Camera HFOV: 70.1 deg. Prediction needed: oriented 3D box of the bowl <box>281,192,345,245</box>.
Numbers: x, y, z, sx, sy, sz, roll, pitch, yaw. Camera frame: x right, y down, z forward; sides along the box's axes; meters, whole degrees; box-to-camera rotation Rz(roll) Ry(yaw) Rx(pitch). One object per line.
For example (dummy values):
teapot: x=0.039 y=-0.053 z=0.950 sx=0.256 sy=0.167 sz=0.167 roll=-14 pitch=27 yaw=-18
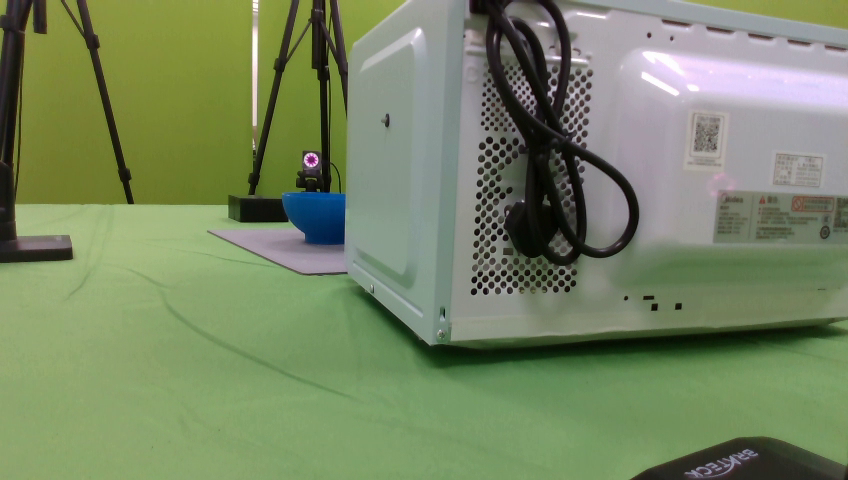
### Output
bowl: x=-0.158 y=-0.035 z=0.991 sx=0.151 sy=0.077 sz=0.151 roll=3 pitch=7 yaw=0

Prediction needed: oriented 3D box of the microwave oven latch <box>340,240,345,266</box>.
microwave oven latch: x=-0.052 y=0.016 z=0.662 sx=0.079 sy=0.029 sz=0.030 roll=1 pitch=7 yaw=-18

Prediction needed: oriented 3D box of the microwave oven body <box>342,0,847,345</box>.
microwave oven body: x=0.169 y=-0.060 z=0.573 sx=0.444 sy=0.260 sz=0.324 roll=1 pitch=7 yaw=-20

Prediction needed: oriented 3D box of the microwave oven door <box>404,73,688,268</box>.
microwave oven door: x=0.154 y=-0.095 z=0.808 sx=0.355 sy=0.243 sz=0.039 roll=4 pitch=8 yaw=9
